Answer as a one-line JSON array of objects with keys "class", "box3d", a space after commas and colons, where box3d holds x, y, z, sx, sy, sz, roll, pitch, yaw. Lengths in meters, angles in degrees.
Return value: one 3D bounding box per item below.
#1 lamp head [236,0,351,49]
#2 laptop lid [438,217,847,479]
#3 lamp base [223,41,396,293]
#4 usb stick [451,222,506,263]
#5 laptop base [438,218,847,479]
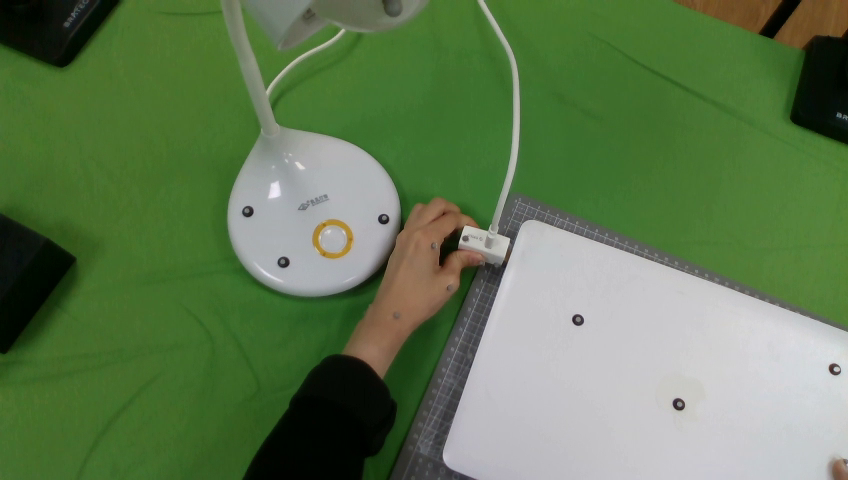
[{"class": "lamp head", "box3d": [-0.050, -0.147, 0.211, 0.112, 0.112, 0.123, -46, 102, -17]}, {"class": "laptop lid", "box3d": [0.212, 0.138, 0.519, 0.356, 0.013, 0.240, 22, 73, 4]}, {"class": "lamp base", "box3d": [-0.111, -0.063, 0.499, 0.160, 0.181, 0.178, -36, 73, -15]}, {"class": "usb stick", "box3d": [0.056, 0.005, 0.557, 0.059, 0.027, 0.021, 20, 68, -1]}, {"class": "laptop base", "box3d": [0.213, 0.140, 0.531, 0.354, 0.023, 0.234, 20, 74, 4]}]
